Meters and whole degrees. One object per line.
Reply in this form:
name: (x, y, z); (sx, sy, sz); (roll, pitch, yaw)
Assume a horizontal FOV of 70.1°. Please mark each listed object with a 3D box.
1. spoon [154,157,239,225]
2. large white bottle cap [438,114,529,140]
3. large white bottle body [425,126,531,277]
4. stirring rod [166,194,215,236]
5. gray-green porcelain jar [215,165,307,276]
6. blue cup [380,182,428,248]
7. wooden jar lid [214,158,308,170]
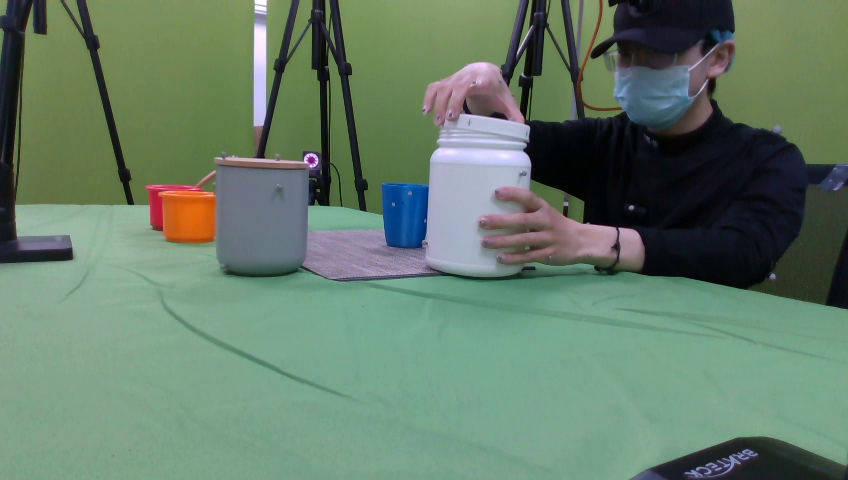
spoon: (-0.411, -0.092, 1.105); (0.041, 0.022, 0.194); (13, 56, 51)
large white bottle cap: (0.075, -0.143, 0.768); (0.115, 0.018, 0.115); (7, 7, -1)
large white bottle body: (0.069, -0.054, 0.780); (0.131, 0.184, 0.130); (3, 8, 0)
stirring rod: (-0.341, -0.066, 0.967); (0.176, 0.006, 0.014); (-42, 23, -9)
gray-green porcelain jar: (-0.195, -0.024, 0.726); (0.106, 0.126, 0.106); (3, 7, 0)
blue cup: (-0.029, -0.042, 0.980); (0.093, 0.100, 0.092); (2, 9, 0)
wooden jar lid: (-0.193, -0.085, 0.719); (0.108, 0.020, 0.108); (2, 9, 0)
